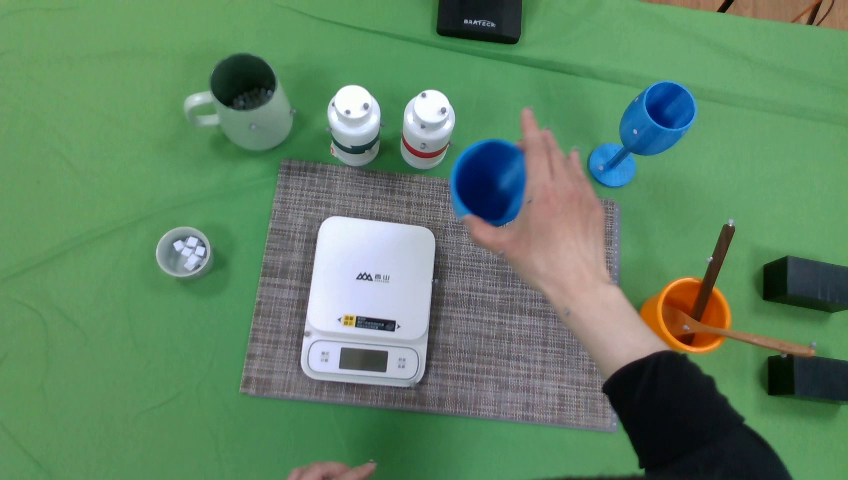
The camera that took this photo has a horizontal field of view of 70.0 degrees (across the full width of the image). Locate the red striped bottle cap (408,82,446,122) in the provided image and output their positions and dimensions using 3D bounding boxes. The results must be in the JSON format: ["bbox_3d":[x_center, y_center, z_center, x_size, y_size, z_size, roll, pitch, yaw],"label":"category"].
[{"bbox_3d":[0.004,-0.163,0.711,0.045,0.018,0.044,3,73,-9],"label":"red striped bottle cap"}]

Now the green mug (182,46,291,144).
[{"bbox_3d":[-0.234,-0.174,0.752,0.125,0.105,0.092,-15,78,-9],"label":"green mug"}]

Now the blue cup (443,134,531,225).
[{"bbox_3d":[0.058,-0.054,0.631,0.093,0.100,0.092,1,82,-3],"label":"blue cup"}]

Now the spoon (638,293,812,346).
[{"bbox_3d":[0.349,0.098,0.719,0.022,0.192,0.041,28,78,-43],"label":"spoon"}]

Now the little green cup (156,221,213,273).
[{"bbox_3d":[-0.287,0.011,0.733,0.062,0.039,0.061,2,75,-7],"label":"little green cup"}]

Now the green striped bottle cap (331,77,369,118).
[{"bbox_3d":[-0.086,-0.166,0.703,0.044,0.020,0.044,2,75,-6],"label":"green striped bottle cap"}]

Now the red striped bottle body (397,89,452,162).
[{"bbox_3d":[0.000,-0.149,0.762,0.063,0.120,0.062,1,75,-5],"label":"red striped bottle body"}]

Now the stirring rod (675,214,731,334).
[{"bbox_3d":[0.335,0.046,0.732,0.014,0.177,0.006,11,34,10],"label":"stirring rod"}]

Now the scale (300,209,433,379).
[{"bbox_3d":[-0.068,0.064,0.742,0.149,0.031,0.200,6,76,-4],"label":"scale"}]

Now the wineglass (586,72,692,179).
[{"bbox_3d":[0.262,-0.137,0.757,0.074,0.173,0.073,1,75,-4],"label":"wineglass"}]

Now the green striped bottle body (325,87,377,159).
[{"bbox_3d":[-0.090,-0.152,0.753,0.063,0.119,0.063,1,75,-5],"label":"green striped bottle body"}]
